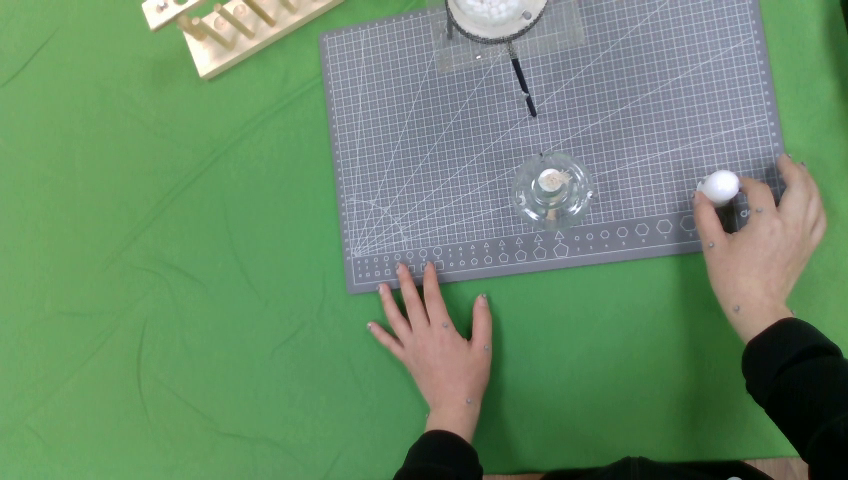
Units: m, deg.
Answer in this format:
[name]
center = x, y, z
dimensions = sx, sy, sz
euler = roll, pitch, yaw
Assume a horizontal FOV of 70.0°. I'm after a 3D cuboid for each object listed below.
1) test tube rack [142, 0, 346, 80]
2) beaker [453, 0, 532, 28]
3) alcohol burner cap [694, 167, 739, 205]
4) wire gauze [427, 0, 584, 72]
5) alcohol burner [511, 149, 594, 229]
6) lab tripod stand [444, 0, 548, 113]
[test tube rack]
center = -0.176, -0.274, 0.668
dimensions = 0.242, 0.085, 0.066
euler = -25, 81, 12
[beaker]
center = 0.045, -0.212, 0.462
dimensions = 0.083, 0.100, 0.074
euler = 6, 89, 15
[alcohol burner cap]
center = 0.270, -0.052, 0.555
dimensions = 0.034, 0.048, 0.034
euler = -1, 84, 11
[wire gauze]
center = 0.063, -0.209, 0.507
dimensions = 0.125, 0.011, 0.121
euler = -8, 89, 11
[alcohol burner]
center = 0.119, -0.050, 0.563
dimensions = 0.078, 0.119, 0.078
euler = -1, 86, 13
[lab tripod stand]
center = 0.079, -0.205, 0.571
dimensions = 0.148, 0.132, 0.148
euler = -1, 88, 13
